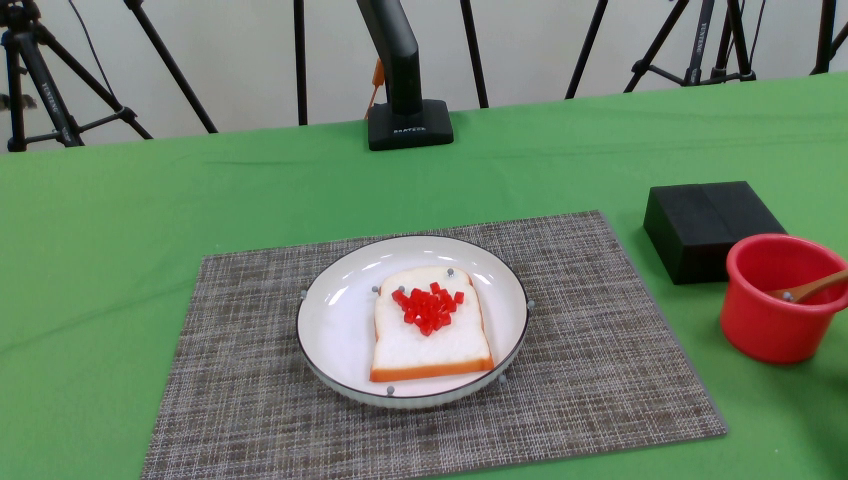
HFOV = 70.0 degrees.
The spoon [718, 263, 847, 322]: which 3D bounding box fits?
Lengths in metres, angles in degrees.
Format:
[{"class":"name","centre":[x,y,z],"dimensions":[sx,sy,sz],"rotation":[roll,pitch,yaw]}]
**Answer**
[{"class":"spoon","centre":[0.334,0.029,0.489],"dimensions":[0.022,0.193,0.041],"rotation":[46,45,-11]}]

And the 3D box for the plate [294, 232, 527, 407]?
[{"class":"plate","centre":[-0.012,0.069,0.553],"dimensions":[0.209,0.038,0.207],"rotation":[-3,39,3]}]

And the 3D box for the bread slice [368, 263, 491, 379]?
[{"class":"bread slice","centre":[0.000,0.069,0.556],"dimensions":[0.105,0.019,0.130],"rotation":[-5,39,-2]}]
